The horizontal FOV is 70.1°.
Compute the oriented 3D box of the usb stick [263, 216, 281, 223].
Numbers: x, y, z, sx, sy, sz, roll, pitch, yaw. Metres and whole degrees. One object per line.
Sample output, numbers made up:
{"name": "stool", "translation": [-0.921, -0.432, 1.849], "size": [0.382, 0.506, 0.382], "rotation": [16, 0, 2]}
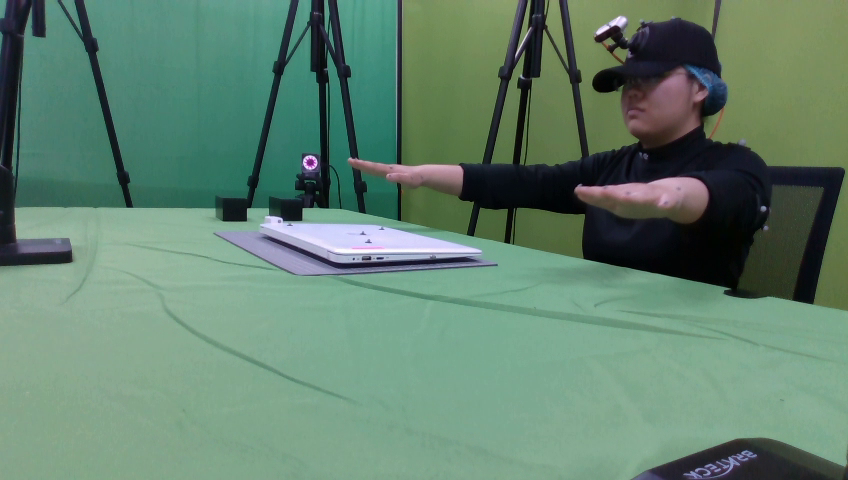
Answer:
{"name": "usb stick", "translation": [-0.269, -0.028, 1.081], "size": [0.021, 0.027, 0.059], "rotation": [-2, 11, -30]}

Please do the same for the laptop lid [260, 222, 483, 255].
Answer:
{"name": "laptop lid", "translation": [-0.099, -0.005, 0.962], "size": [0.243, 0.013, 0.355], "rotation": [1, 7, -30]}

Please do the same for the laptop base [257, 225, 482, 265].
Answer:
{"name": "laptop base", "translation": [-0.102, 0.006, 0.962], "size": [0.237, 0.023, 0.352], "rotation": [2, 6, -32]}
